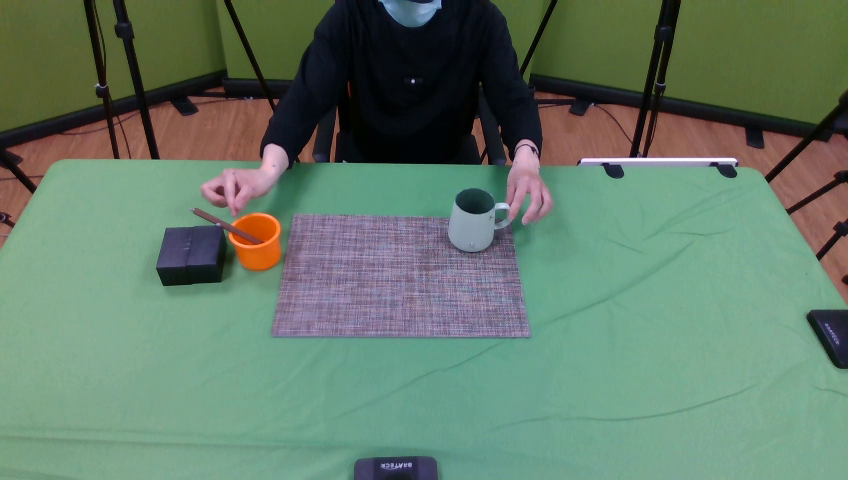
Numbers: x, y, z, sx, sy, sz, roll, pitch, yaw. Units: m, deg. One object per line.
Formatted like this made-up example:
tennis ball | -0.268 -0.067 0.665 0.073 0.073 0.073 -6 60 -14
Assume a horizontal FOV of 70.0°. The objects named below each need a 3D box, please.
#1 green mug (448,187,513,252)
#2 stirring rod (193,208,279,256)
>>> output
green mug | 0.112 -0.041 1.180 0.125 0.105 0.092 -8 47 -11
stirring rod | -0.339 -0.013 1.107 0.177 0.006 0.014 32 29 -34
